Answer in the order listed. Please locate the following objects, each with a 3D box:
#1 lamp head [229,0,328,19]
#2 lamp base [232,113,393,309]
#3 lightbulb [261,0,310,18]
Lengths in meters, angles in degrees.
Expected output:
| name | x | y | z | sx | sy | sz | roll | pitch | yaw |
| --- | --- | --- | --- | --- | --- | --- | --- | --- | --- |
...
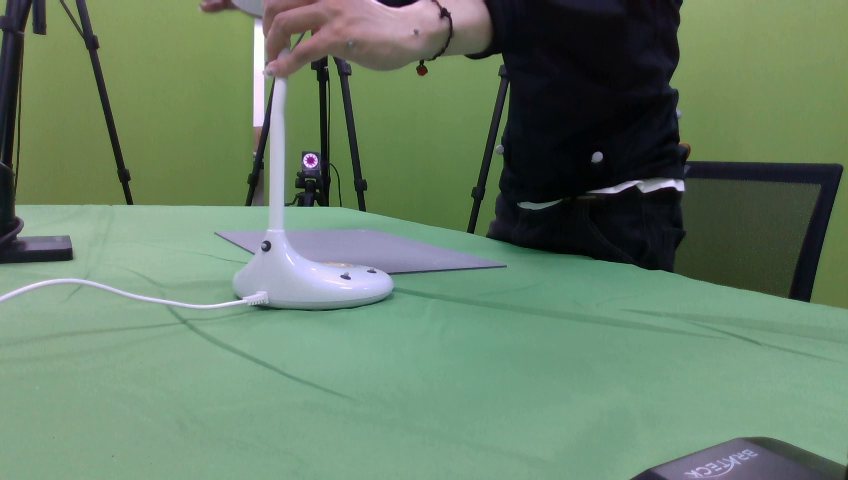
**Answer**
| name | x | y | z | sx | sy | sz | roll | pitch | yaw |
| --- | --- | --- | --- | --- | --- | --- | --- | --- | --- |
| lamp head | -0.159 | -0.311 | 0.640 | 0.112 | 0.123 | 0.112 | 4 | 51 | -4 |
| lamp base | -0.113 | -0.031 | 0.594 | 0.160 | 0.180 | 0.179 | 4 | 10 | 18 |
| lightbulb | -0.156 | -0.298 | 0.662 | 0.059 | 0.108 | 0.059 | 1 | 47 | 0 |
